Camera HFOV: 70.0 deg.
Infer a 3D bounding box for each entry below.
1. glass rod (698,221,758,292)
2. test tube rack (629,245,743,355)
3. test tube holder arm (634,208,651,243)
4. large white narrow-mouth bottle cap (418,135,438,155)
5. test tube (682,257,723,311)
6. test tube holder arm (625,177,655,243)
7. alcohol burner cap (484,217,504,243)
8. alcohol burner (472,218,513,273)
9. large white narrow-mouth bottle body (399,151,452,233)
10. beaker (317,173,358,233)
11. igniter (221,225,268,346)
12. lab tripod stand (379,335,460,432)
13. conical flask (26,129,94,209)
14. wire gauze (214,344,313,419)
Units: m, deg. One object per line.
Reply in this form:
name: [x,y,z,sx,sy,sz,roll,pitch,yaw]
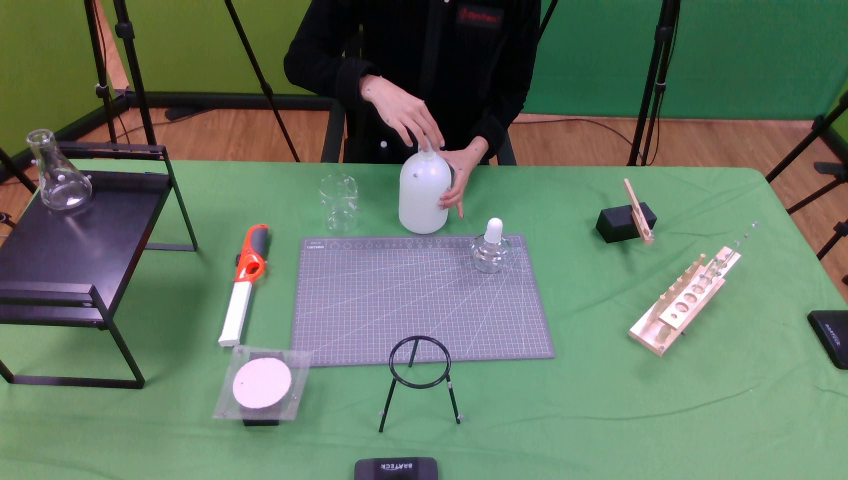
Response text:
glass rod: [0.527,0.035,1.060,0.008,0.200,0.008,5,49,-6]
test tube rack: [0.474,0.095,1.091,0.242,0.085,0.066,-34,56,-31]
test tube holder arm: [0.428,-0.030,1.189,0.010,0.015,0.087,2,47,-2]
large white narrow-mouth bottle cap: [0.007,-0.175,1.114,0.038,0.024,0.037,2,46,-2]
test tube: [0.475,0.080,1.037,0.017,0.151,0.017,1,50,-1]
test tube holder arm: [0.433,-0.063,1.220,0.013,0.015,0.177,1,47,-3]
alcohol burner cap: [0.130,-0.021,1.107,0.034,0.048,0.033,4,40,-3]
alcohol burner: [0.128,0.005,1.132,0.078,0.120,0.077,0,47,0]
large white narrow-mouth bottle body: [0.004,-0.110,1.183,0.102,0.195,0.101,2,46,-2]
beaker: [-0.166,-0.070,1.198,0.083,0.101,0.074,25,50,18]
igniter: [-0.323,0.072,1.100,0.057,0.025,0.274,-6,45,5]
lab tripod stand: [-0.011,0.214,0.911,0.148,0.132,0.147,1,45,0]
conical flask: [-0.575,-0.113,0.946,0.075,0.122,0.075,2,46,-2]
wire gauze: [-0.241,0.213,0.916,0.121,0.011,0.124,5,46,1]
